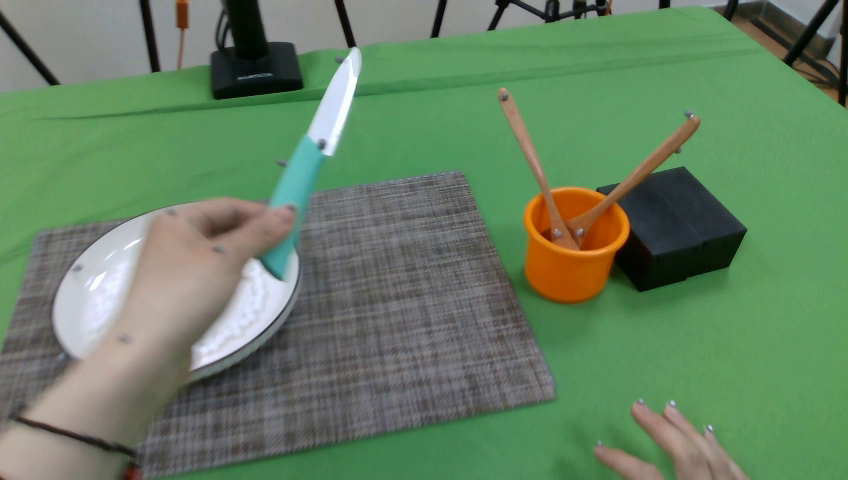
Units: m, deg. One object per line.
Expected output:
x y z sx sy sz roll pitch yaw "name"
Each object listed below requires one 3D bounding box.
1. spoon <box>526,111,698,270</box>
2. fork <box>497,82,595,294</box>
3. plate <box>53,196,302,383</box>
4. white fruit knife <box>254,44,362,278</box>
0.168 -0.042 0.545 0.041 0.194 0.021 48 23 6 "spoon"
0.110 -0.048 0.556 0.028 0.018 0.207 -22 93 -6 "fork"
-0.212 0.041 0.542 0.209 0.038 0.207 0 45 0 "plate"
-0.079 -0.068 0.439 0.027 0.016 0.206 21 62 -9 "white fruit knife"
